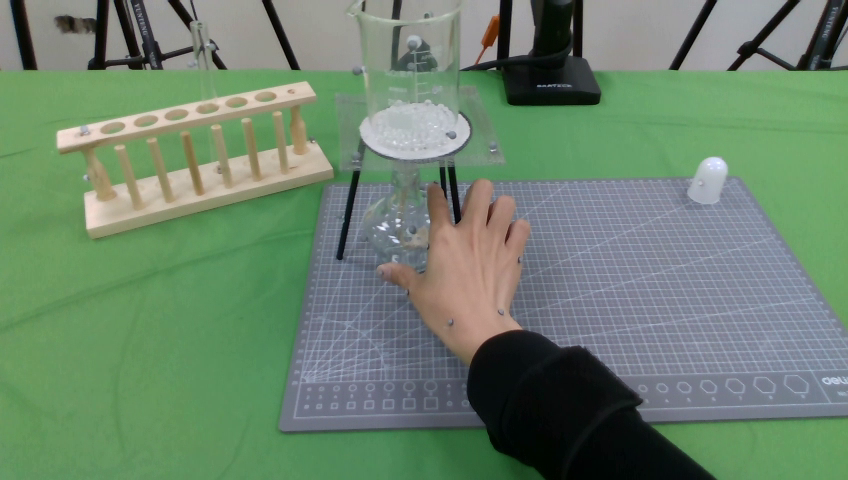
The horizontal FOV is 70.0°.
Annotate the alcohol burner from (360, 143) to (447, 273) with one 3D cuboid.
[{"bbox_3d":[-0.018,-0.030,0.526,0.078,0.120,0.077,0,39,0],"label":"alcohol burner"}]

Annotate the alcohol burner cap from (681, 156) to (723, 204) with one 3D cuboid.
[{"bbox_3d":[0.286,-0.064,0.621,0.034,0.048,0.033,0,41,0],"label":"alcohol burner cap"}]

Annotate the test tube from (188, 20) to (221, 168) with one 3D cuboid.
[{"bbox_3d":[-0.215,-0.139,0.599,0.017,0.151,0.017,3,35,-2],"label":"test tube"}]

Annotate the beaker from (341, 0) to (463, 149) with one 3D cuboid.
[{"bbox_3d":[-0.014,-0.125,0.445,0.084,0.101,0.073,0,41,2],"label":"beaker"}]

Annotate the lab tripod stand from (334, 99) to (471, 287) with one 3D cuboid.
[{"bbox_3d":[-0.011,-0.041,0.523,0.148,0.133,0.147,0,43,1],"label":"lab tripod stand"}]

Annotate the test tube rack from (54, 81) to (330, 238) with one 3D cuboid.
[{"bbox_3d":[-0.225,-0.086,0.614,0.243,0.086,0.066,-17,44,-19],"label":"test tube rack"}]

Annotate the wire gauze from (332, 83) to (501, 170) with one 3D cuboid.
[{"bbox_3d":[-0.011,-0.090,0.480,0.125,0.011,0.120,-7,40,-3],"label":"wire gauze"}]
